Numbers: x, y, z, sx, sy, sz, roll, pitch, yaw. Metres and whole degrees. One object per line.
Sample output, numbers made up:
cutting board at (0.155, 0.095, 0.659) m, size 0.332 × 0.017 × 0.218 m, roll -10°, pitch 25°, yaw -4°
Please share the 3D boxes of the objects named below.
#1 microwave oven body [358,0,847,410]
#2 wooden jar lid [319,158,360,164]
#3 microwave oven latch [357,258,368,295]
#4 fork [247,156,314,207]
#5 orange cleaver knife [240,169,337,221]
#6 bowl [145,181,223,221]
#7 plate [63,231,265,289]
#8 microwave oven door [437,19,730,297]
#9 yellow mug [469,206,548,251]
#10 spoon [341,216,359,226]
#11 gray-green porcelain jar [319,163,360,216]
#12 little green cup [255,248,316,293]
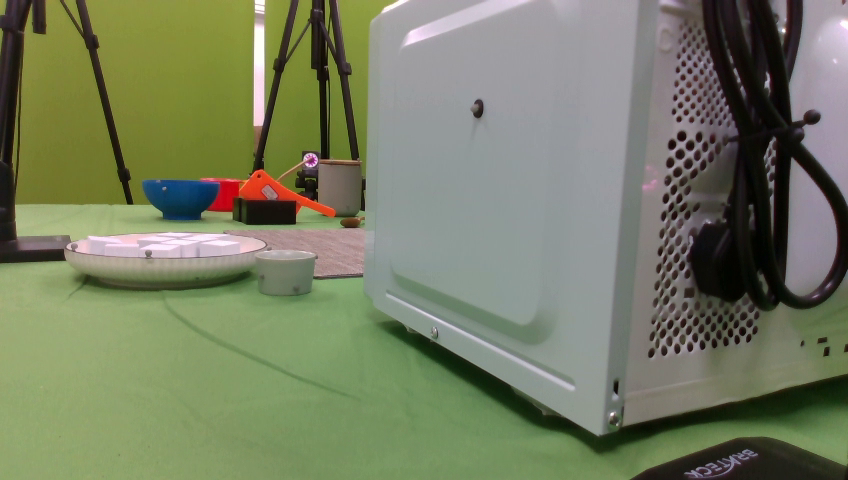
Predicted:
microwave oven body at (0.210, -0.051, 0.471) m, size 0.444 × 0.260 × 0.324 m, roll -1°, pitch 7°, yaw -28°
wooden jar lid at (-0.203, -0.189, 1.481) m, size 0.108 × 0.020 × 0.108 m, roll 2°, pitch 10°, yaw 0°
microwave oven latch at (-0.019, 0.031, 0.529) m, size 0.079 × 0.029 × 0.030 m, roll -1°, pitch 7°, yaw -27°
fork at (-0.360, -0.147, 1.523) m, size 0.207 × 0.019 × 0.028 m, roll -43°, pitch 16°, yaw -7°
orange cleaver knife at (-0.287, -0.082, 1.298) m, size 0.212 × 0.077 × 0.012 m, roll 25°, pitch -2°, yaw -31°
bowl at (-0.499, -0.081, 1.261) m, size 0.151 × 0.077 × 0.151 m, roll 2°, pitch 7°, yaw 0°
plate at (-0.288, 0.021, 0.687) m, size 0.208 × 0.039 × 0.207 m, roll 2°, pitch 8°, yaw 0°
microwave oven door at (0.181, -0.076, 0.618) m, size 0.358 × 0.243 × 0.039 m, roll -2°, pitch 9°, yaw -28°
yellow mug at (0.137, -0.017, 0.952) m, size 0.131 × 0.064 × 0.099 m, roll 2°, pitch 2°, yaw -20°
spoon at (-0.132, -0.048, 1.305) m, size 0.041 × 0.021 × 0.194 m, roll -14°, pitch 4°, yaw 14°
gray-green porcelain jar at (-0.204, -0.126, 1.490) m, size 0.106 × 0.126 × 0.106 m, roll 2°, pitch 7°, yaw 0°
little green cup at (-0.144, 0.031, 0.627) m, size 0.061 × 0.038 × 0.061 m, roll 2°, pitch 6°, yaw 0°
